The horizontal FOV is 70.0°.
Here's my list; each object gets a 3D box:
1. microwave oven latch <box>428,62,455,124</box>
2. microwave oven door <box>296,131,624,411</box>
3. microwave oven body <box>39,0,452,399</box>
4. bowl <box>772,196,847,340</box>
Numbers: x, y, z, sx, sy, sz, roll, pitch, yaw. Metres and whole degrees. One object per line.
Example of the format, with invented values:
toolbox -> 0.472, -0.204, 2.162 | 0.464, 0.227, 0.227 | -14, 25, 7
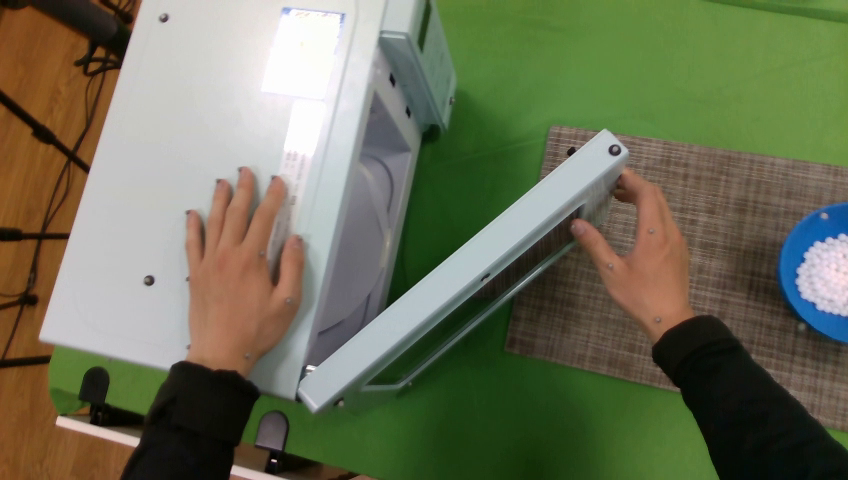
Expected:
microwave oven latch -> 0.021, -0.194, 0.794 | 0.030, 0.029, 0.079 | 11, 81, 12
microwave oven door -> 0.050, 0.049, 0.633 | 0.356, 0.245, 0.039 | -40, 73, 0
microwave oven body -> -0.176, -0.069, 0.704 | 0.325, 0.261, 0.440 | 10, 81, 12
bowl -> 0.451, 0.036, 0.660 | 0.151, 0.077, 0.150 | -2, 78, 11
